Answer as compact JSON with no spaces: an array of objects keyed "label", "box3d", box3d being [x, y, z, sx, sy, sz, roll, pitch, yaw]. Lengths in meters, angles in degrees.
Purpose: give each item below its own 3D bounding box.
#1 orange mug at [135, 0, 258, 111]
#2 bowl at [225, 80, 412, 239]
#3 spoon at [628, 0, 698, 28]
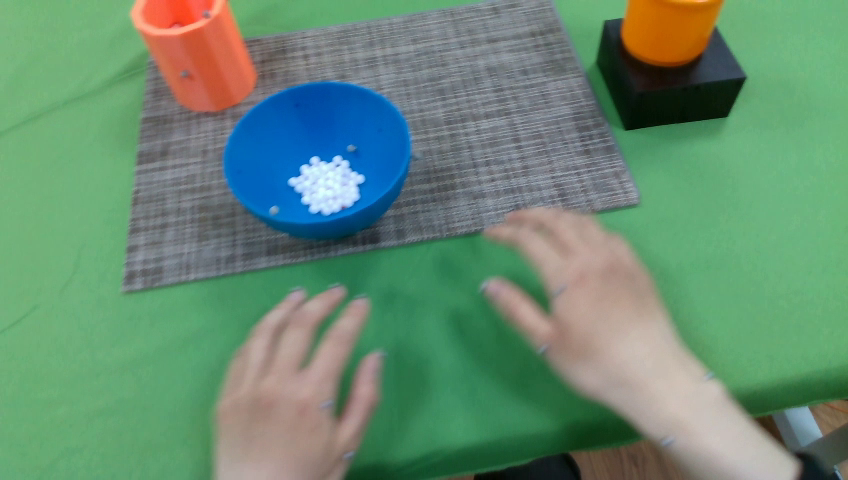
[{"label":"orange mug","box3d":[-0.220,-0.208,0.608,0.083,0.101,0.125,1,62,5]},{"label":"bowl","box3d":[-0.082,-0.055,0.514,0.151,0.077,0.150,-1,57,2]},{"label":"spoon","box3d":[0.256,-0.220,0.500,0.022,0.193,0.041,47,58,-19]}]
